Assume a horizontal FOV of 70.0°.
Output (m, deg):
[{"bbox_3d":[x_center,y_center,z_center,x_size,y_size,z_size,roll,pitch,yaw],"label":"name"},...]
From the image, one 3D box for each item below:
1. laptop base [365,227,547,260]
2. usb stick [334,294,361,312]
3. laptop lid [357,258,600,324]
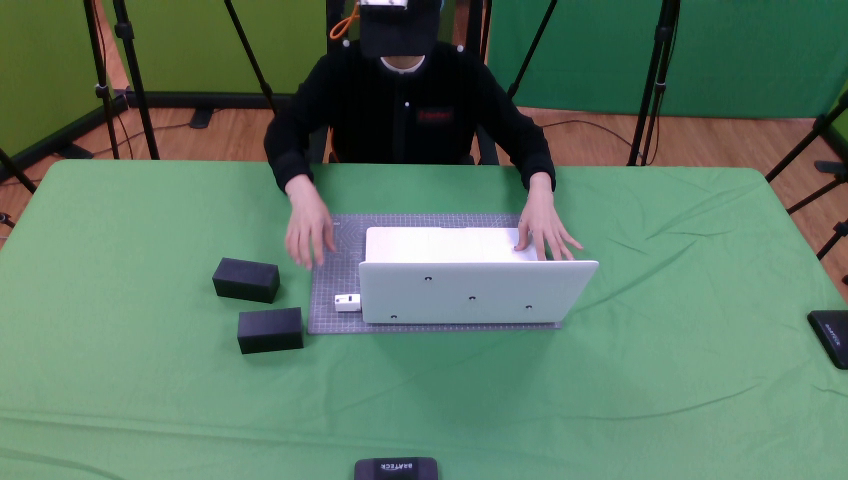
[{"bbox_3d":[0.064,0.062,1.145,0.355,0.023,0.234,0,43,-4],"label":"laptop base"},{"bbox_3d":[-0.127,0.111,1.066,0.059,0.027,0.021,1,46,-5],"label":"usb stick"},{"bbox_3d":[0.075,0.087,0.959,0.357,0.242,0.013,1,60,-5],"label":"laptop lid"}]
